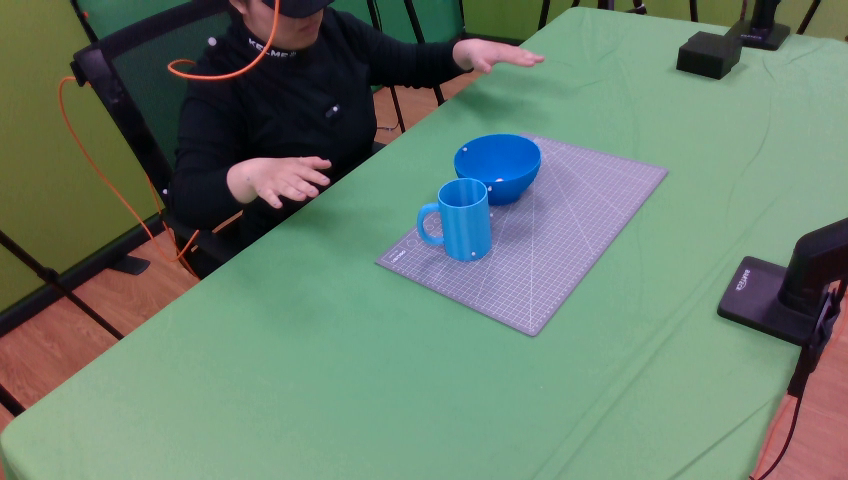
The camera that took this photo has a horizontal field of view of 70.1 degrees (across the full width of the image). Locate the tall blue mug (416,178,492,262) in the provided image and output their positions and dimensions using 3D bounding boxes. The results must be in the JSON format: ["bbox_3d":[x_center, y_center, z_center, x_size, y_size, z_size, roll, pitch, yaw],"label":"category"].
[{"bbox_3d":[0.051,-0.025,0.931,0.107,0.108,0.077,-27,44,-20],"label":"tall blue mug"}]

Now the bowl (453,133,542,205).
[{"bbox_3d":[0.129,-0.113,1.045,0.151,0.077,0.150,-5,40,5],"label":"bowl"}]
